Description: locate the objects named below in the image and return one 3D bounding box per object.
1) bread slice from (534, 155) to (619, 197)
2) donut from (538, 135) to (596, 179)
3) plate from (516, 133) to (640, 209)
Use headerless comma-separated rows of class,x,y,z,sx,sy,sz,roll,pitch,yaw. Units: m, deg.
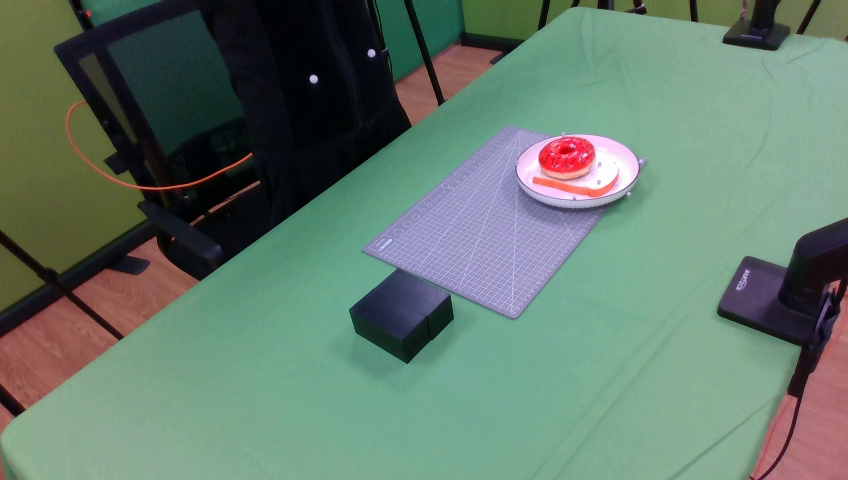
bread slice,0.274,-0.119,1.058,0.130,0.019,0.105,19,48,31
donut,0.248,-0.144,1.047,0.099,0.048,0.098,-8,41,8
plate,0.266,-0.117,1.054,0.209,0.038,0.208,-5,40,5
